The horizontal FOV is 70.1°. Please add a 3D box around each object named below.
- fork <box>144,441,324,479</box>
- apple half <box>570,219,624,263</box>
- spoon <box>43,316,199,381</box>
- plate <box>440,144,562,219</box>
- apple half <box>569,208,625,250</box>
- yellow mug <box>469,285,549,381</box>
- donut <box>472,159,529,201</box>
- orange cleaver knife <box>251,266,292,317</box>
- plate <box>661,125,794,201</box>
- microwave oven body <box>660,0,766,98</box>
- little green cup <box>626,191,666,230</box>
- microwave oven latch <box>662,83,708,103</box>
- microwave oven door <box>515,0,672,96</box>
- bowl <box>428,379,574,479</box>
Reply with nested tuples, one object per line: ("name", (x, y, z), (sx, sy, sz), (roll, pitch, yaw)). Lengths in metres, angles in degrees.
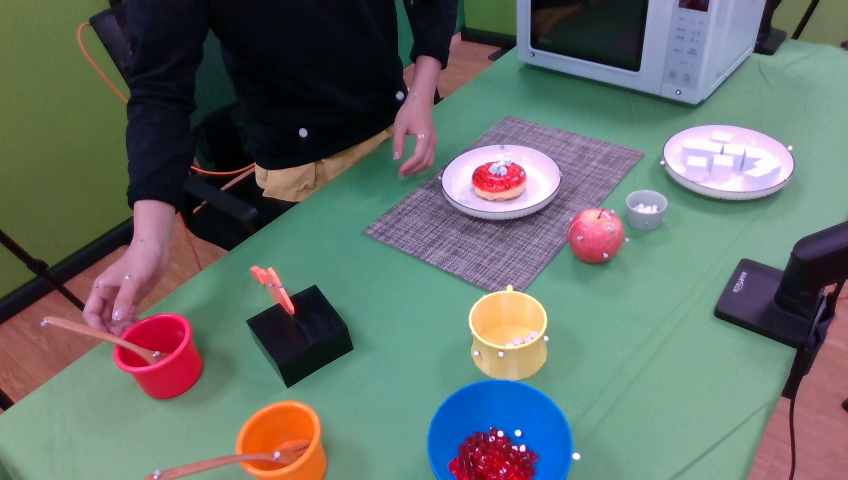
("fork", (-0.189, 0.231, 0.631), (0.028, 0.018, 0.209), (33, 11, 38))
("apple half", (0.250, 0.010, 0.885), (0.081, 0.081, 0.033), (7, 39, 17))
("spoon", (-0.385, 0.136, 0.778), (0.195, 0.021, 0.041), (31, 35, -24))
("plate", (0.134, -0.098, 1.051), (0.209, 0.038, 0.208), (-4, 40, 4))
("apple half", (0.262, -0.014, 0.913), (0.080, 0.075, 0.053), (4, 37, 20))
("yellow mug", (0.112, 0.112, 0.792), (0.100, 0.064, 0.130), (0, 40, 9))
("donut", (0.132, -0.105, 1.043), (0.099, 0.048, 0.098), (-5, 38, 4))
("orange cleaver knife", (-0.221, 0.071, 0.873), (0.012, 0.077, 0.210), (-25, 11, -21))
("plate", (0.513, -0.128, 1.035), (0.207, 0.039, 0.206), (-4, 40, 4))
("microwave oven body", (0.472, -0.513, 1.317), (0.438, 0.261, 0.327), (26, 51, 34))
("little green cup", (0.352, -0.046, 0.963), (0.061, 0.039, 0.061), (-4, 40, 4))
("microwave oven latch", (0.518, -0.296, 1.204), (0.078, 0.029, 0.030), (28, 52, 35))
("microwave oven door", (0.344, -0.455, 1.259), (0.353, 0.245, 0.039), (26, 51, 33))
("bowl", (0.082, 0.233, 0.644), (0.151, 0.077, 0.150), (-4, 39, 4))
